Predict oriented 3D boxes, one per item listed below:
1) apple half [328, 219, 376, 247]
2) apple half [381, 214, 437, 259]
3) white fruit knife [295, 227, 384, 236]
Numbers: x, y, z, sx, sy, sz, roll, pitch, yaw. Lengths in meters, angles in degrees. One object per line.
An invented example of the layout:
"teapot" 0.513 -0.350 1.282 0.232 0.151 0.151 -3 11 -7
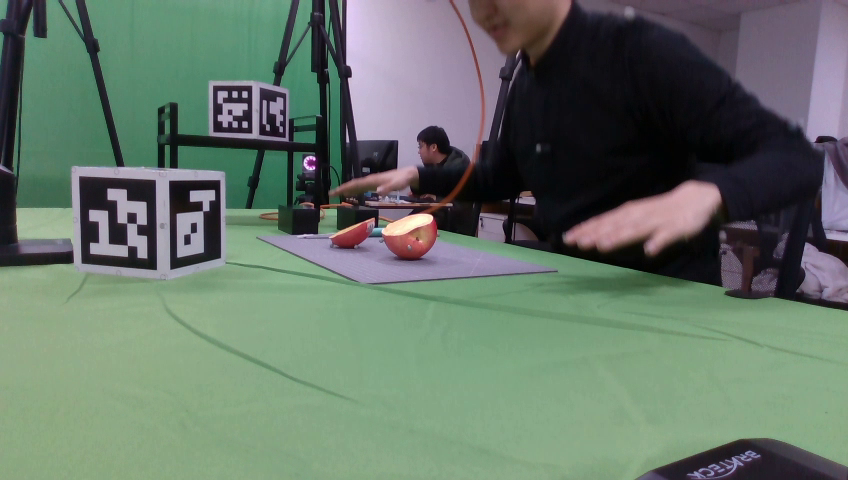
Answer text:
"apple half" -0.111 -0.007 0.971 0.081 0.033 0.081 -17 9 3
"apple half" -0.020 -0.001 0.884 0.081 0.053 0.074 -25 22 -23
"white fruit knife" -0.134 -0.013 1.104 0.208 0.016 0.027 -3 -3 -30
